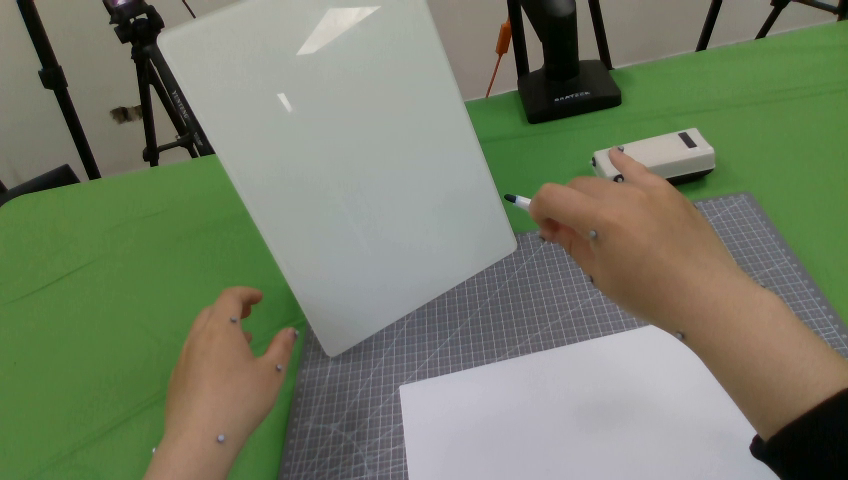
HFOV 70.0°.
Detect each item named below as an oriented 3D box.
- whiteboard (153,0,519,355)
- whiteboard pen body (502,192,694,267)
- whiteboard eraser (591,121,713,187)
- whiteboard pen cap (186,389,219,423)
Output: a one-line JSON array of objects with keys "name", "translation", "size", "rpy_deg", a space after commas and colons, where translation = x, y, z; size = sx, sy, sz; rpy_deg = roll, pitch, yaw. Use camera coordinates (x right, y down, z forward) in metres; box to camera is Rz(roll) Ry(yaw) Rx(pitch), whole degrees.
[{"name": "whiteboard", "translation": [-0.077, -0.090, 0.586], "size": [0.217, 0.307, 0.142], "rpy_deg": [-29, 21, -14]}, {"name": "whiteboard pen body", "translation": [0.117, -0.009, 0.407], "size": [0.141, 0.017, 0.017], "rpy_deg": [18, 42, -9]}, {"name": "whiteboard eraser", "translation": [0.238, -0.088, 0.637], "size": [0.112, 0.042, 0.055], "rpy_deg": [-12, 42, 4]}, {"name": "whiteboard pen cap", "translation": [-0.190, 0.144, 0.521], "size": [0.018, 0.033, 0.018], "rpy_deg": [-7, 42, 7]}]
